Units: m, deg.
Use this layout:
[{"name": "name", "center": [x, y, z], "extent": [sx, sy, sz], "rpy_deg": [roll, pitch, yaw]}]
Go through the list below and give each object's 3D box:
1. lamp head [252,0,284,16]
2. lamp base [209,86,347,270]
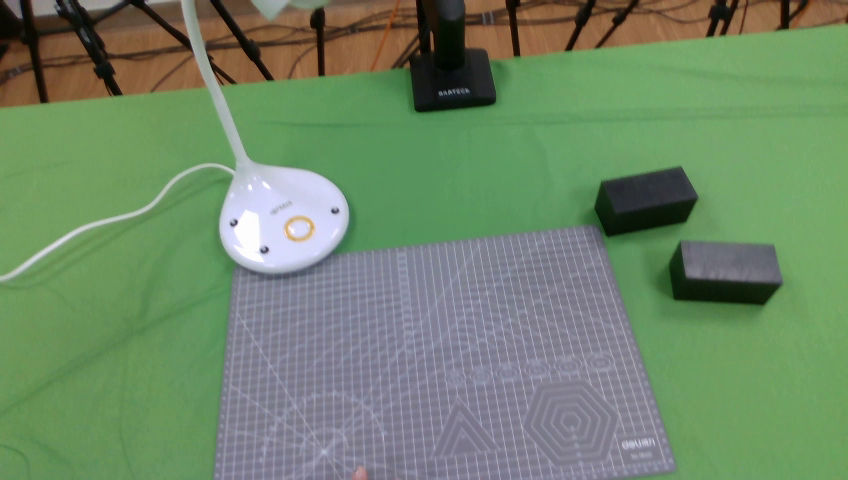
[{"name": "lamp head", "center": [-0.132, -0.258, 0.481], "extent": [0.124, 0.112, 0.112], "rpy_deg": [39, 58, -20]}, {"name": "lamp base", "center": [-0.191, -0.081, 0.705], "extent": [0.177, 0.182, 0.160], "rpy_deg": [33, 62, 26]}]
